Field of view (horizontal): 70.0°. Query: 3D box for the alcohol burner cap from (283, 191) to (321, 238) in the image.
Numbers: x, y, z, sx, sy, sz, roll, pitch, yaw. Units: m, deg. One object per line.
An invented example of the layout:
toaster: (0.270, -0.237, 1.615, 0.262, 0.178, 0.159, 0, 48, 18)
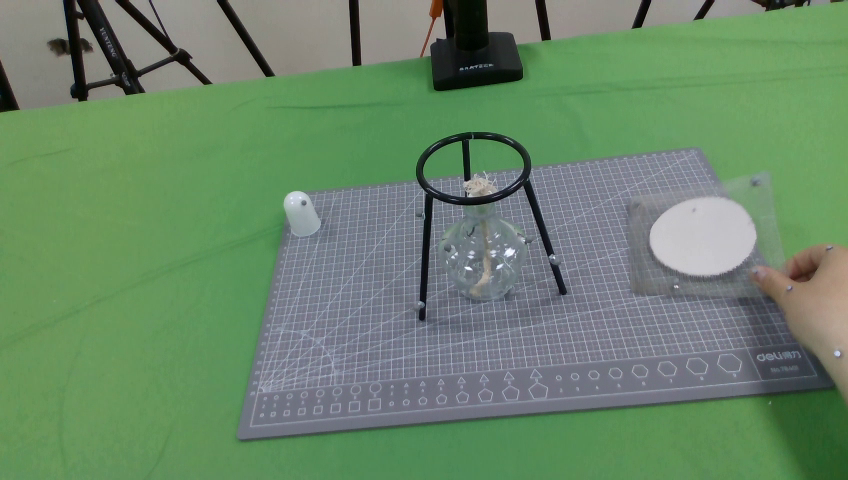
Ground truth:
alcohol burner cap: (-0.128, -0.029, 0.625, 0.034, 0.048, 0.033, -4, 45, 4)

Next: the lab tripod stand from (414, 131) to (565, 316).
lab tripod stand: (0.049, -0.013, 0.511, 0.148, 0.133, 0.147, -4, 43, 4)

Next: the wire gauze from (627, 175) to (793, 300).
wire gauze: (0.245, -0.001, 0.537, 0.124, 0.011, 0.120, -9, 50, 26)

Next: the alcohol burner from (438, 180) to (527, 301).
alcohol burner: (0.049, -0.004, 0.516, 0.078, 0.120, 0.077, -4, 44, 4)
